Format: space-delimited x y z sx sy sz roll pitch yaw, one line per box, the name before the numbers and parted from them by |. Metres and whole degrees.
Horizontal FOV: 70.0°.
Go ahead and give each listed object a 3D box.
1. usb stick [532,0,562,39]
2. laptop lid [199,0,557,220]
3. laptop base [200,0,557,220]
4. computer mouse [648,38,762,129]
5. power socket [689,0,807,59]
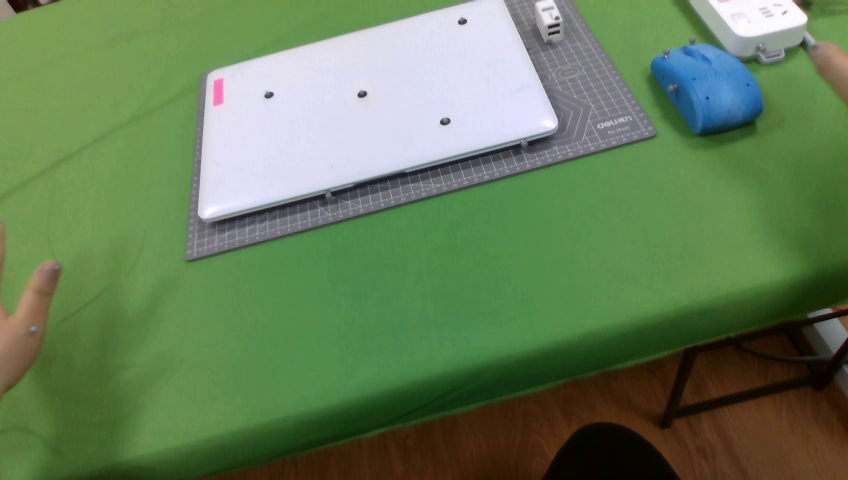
usb stick | 0.133 -0.249 0.665 0.021 0.027 0.058 -14 49 5
laptop lid | -0.064 -0.152 0.632 0.357 0.013 0.239 -13 54 3
laptop base | -0.062 -0.147 0.642 0.354 0.023 0.233 -15 55 2
computer mouse | 0.257 -0.152 0.560 0.063 0.041 0.116 -15 47 4
power socket | 0.318 -0.272 0.639 0.072 0.033 0.224 -13 52 4
